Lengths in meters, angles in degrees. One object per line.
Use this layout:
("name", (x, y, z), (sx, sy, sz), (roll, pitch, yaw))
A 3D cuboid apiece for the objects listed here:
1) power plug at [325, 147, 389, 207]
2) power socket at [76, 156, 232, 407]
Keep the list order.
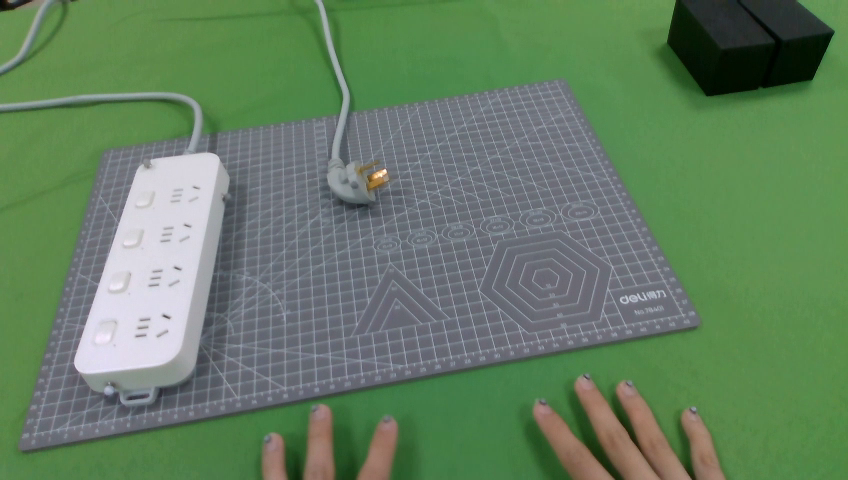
("power plug", (-0.057, -0.061, 0.504), (0.052, 0.035, 0.072), (-18, 67, 10))
("power socket", (-0.195, 0.015, 0.457), (0.072, 0.033, 0.224), (-5, 48, -1))
